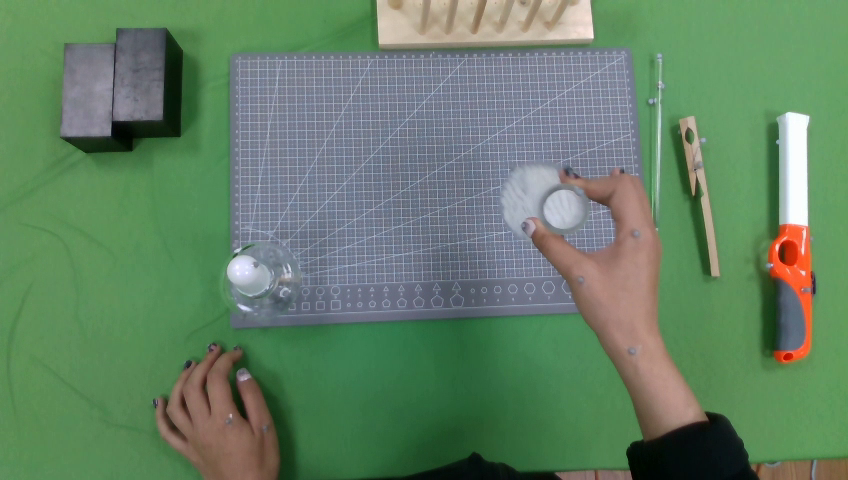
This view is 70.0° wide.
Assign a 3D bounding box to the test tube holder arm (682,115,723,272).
[{"bbox_3d":[0.306,-0.052,0.669,0.013,0.015,0.178,-15,81,31],"label":"test tube holder arm"}]

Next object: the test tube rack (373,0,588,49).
[{"bbox_3d":[0.066,-0.260,0.653,0.242,0.085,0.066,-3,82,-4],"label":"test tube rack"}]

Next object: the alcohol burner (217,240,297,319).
[{"bbox_3d":[-0.164,0.036,0.579,0.078,0.119,0.077,0,80,-1],"label":"alcohol burner"}]

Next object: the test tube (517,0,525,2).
[{"bbox_3d":[0.107,-0.288,0.610,0.017,0.151,0.017,0,79,1],"label":"test tube"}]

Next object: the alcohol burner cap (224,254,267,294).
[{"bbox_3d":[-0.163,0.028,0.544,0.034,0.048,0.033,1,73,-2],"label":"alcohol burner cap"}]

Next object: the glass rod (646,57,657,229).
[{"bbox_3d":[0.256,-0.110,0.681,0.008,0.008,0.199,4,84,-3],"label":"glass rod"}]

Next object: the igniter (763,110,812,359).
[{"bbox_3d":[0.400,-0.008,0.666,0.057,0.025,0.275,7,81,-12],"label":"igniter"}]

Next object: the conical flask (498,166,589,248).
[{"bbox_3d":[0.104,-0.027,0.502,0.075,0.122,0.075,0,94,2],"label":"conical flask"}]

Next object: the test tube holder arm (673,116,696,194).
[{"bbox_3d":[0.293,-0.094,0.678,0.010,0.015,0.087,-14,82,31],"label":"test tube holder arm"}]
